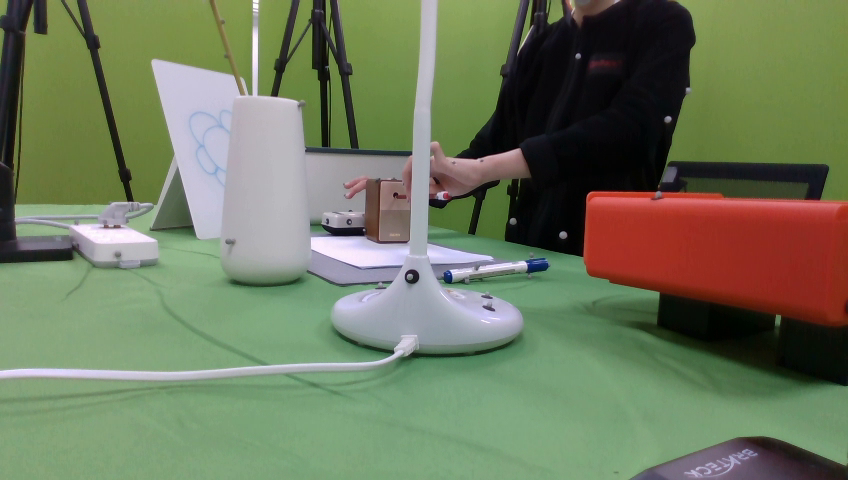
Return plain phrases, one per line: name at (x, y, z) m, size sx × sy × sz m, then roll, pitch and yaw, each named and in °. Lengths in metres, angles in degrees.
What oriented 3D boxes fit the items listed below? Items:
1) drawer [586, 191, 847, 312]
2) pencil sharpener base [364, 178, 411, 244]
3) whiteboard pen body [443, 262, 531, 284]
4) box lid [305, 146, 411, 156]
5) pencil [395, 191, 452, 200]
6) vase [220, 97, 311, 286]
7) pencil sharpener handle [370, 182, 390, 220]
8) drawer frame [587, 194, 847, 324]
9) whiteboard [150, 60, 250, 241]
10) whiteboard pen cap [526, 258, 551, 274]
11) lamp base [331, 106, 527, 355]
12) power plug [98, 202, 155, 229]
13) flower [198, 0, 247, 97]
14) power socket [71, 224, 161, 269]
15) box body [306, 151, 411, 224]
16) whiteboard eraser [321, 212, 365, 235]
drawer at (0.281, 0.001, 0.513) m, size 0.195 × 0.073 × 0.210 m, roll -1°, pitch 8°, yaw -29°
pencil sharpener base at (-0.063, -0.051, 1.031) m, size 0.061 × 0.107 × 0.076 m, roll -1°, pitch 8°, yaw -25°
whiteboard pen body at (0.087, 0.038, 0.734) m, size 0.141 × 0.017 × 0.017 m, roll -5°, pitch 10°, yaw -27°
box lid at (-0.229, -0.200, 1.360) m, size 0.373 × 0.015 × 0.262 m, roll -3°, pitch 9°, yaw -32°
pencil at (-0.007, -0.066, 0.915) m, size 0.012 × 0.012 × 0.193 m, roll -1°, pitch 3°, yaw -26°
vase at (-0.172, -0.052, 0.662) m, size 0.098 × 0.200 × 0.098 m, roll 3°, pitch 9°, yaw 0°
pencil sharpener handle at (-0.084, -0.070, 1.075) m, size 0.036 × 0.067 × 0.030 m, roll 4°, pitch 5°, yaw -25°
drawer frame at (0.285, 0.004, 0.508) m, size 0.203 × 0.082 × 0.212 m, roll -1°, pitch 6°, yaw -29°
whiteboard at (-0.408, -0.139, 1.093) m, size 0.143 × 0.305 × 0.218 m, roll -15°, pitch -1°, yaw 26°
whiteboard pen cap at (0.141, 0.033, 0.759) m, size 0.033 × 0.018 × 0.018 m, roll -8°, pitch 11°, yaw -26°
lamp base at (0.006, -0.012, 0.478) m, size 0.161 × 0.180 × 0.179 m, roll 2°, pitch 10°, yaw 2°
power plug at (-0.416, -0.027, 0.848) m, size 0.073 × 0.052 × 0.035 m, roll 0°, pitch 8°, yaw -28°
flower at (-0.187, -0.133, 0.648) m, size 0.038 × 0.362 × 0.044 m, roll -1°, pitch 22°, yaw 43°
power socket at (-0.408, 0.004, 0.793) m, size 0.072 × 0.032 × 0.225 m, roll -2°, pitch 8°, yaw -38°
box body at (-0.230, -0.126, 1.371) m, size 0.366 × 0.160 × 0.253 m, roll -2°, pitch 8°, yaw -33°
whiteboard eraser at (-0.128, -0.031, 1.108) m, size 0.113 × 0.042 × 0.055 m, roll -3°, pitch 8°, yaw -38°
